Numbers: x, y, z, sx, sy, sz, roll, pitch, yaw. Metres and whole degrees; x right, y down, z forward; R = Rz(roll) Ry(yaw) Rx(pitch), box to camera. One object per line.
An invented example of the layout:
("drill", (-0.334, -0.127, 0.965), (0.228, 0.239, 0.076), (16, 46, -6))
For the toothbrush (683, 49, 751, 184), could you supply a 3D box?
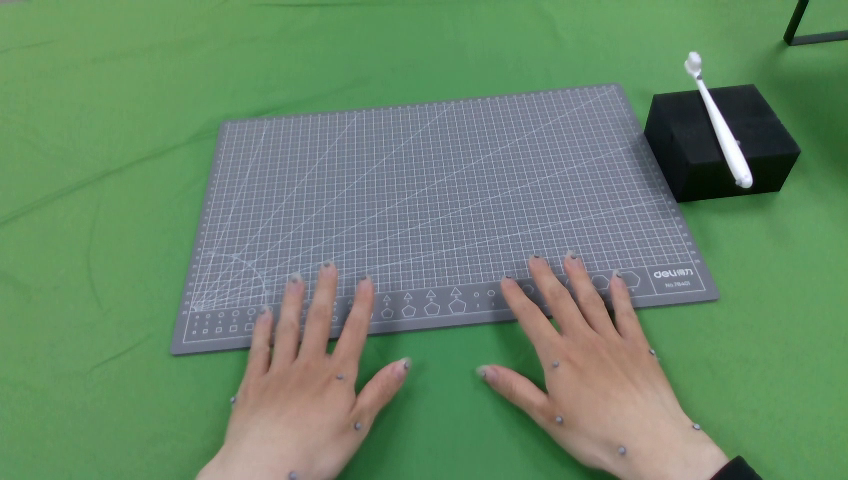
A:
("toothbrush", (0.268, -0.119, 0.557), (0.014, 0.017, 0.180), (0, 51, 1))
